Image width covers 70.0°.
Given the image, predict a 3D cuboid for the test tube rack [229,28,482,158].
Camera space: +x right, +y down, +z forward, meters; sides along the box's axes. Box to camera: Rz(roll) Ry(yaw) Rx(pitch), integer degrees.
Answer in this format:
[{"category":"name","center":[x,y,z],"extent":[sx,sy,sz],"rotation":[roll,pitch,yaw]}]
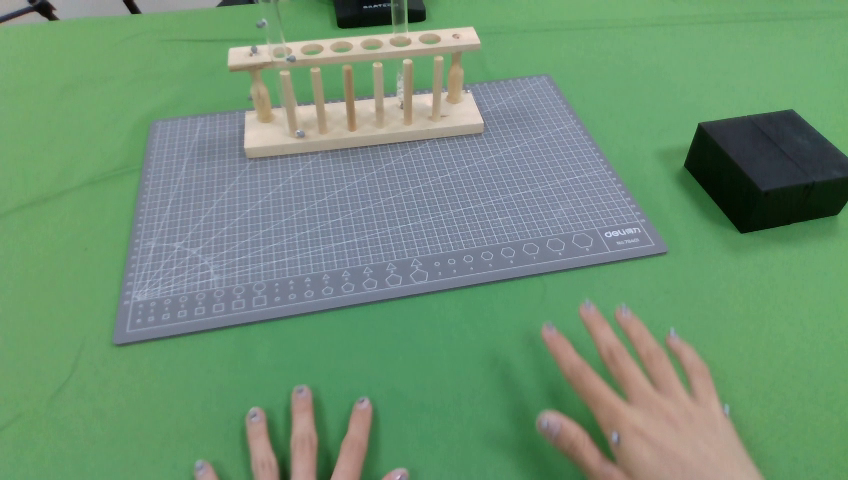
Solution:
[{"category":"test tube rack","center":[-0.064,-0.150,0.612],"extent":[0.243,0.086,0.066],"rotation":[-8,46,-7]}]

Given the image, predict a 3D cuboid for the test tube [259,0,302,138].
[{"category":"test tube","center":[-0.131,-0.159,0.559],"extent":[0.017,0.152,0.017],"rotation":[0,45,1]}]

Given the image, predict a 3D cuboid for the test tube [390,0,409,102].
[{"category":"test tube","center":[-0.024,-0.205,0.596],"extent":[0.017,0.151,0.017],"rotation":[0,42,1]}]
